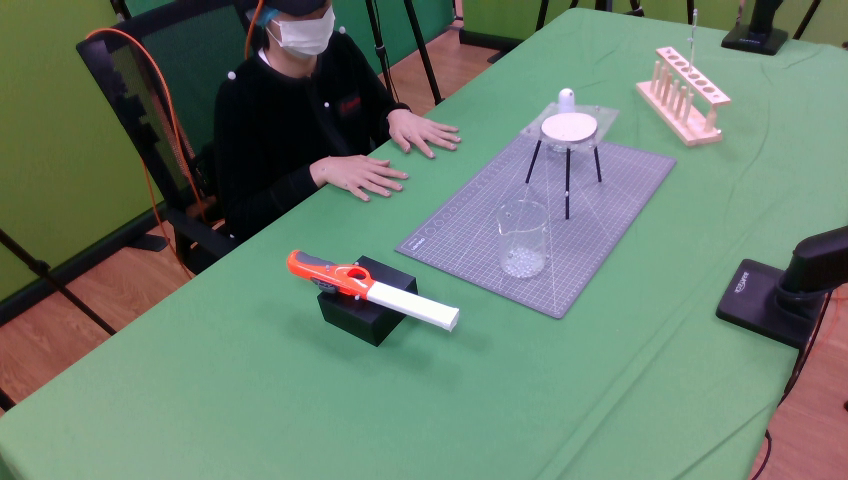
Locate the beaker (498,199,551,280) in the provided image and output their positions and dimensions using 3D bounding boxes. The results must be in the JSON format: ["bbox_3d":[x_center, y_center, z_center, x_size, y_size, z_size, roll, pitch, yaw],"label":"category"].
[{"bbox_3d":[0.144,0.003,0.884,0.073,0.101,0.084,28,52,36],"label":"beaker"}]

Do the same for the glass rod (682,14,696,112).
[{"bbox_3d":[0.495,-0.326,1.132,0.008,0.201,0.008,-8,42,8],"label":"glass rod"}]

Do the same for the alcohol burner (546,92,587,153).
[{"bbox_3d":[0.263,-0.222,1.124,0.078,0.119,0.077,-5,42,5],"label":"alcohol burner"}]

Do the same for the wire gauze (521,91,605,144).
[{"bbox_3d":[0.219,-0.191,0.948,0.121,0.011,0.125,8,49,13],"label":"wire gauze"}]

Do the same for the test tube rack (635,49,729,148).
[{"bbox_3d":[0.497,-0.283,1.185,0.067,0.085,0.240,-10,40,-2],"label":"test tube rack"}]

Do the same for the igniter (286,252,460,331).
[{"bbox_3d":[-0.080,0.067,0.832,0.275,0.025,0.057,17,46,22],"label":"igniter"}]

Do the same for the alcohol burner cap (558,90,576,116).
[{"bbox_3d":[0.260,-0.250,1.102,0.034,0.048,0.033,-7,37,5],"label":"alcohol burner cap"}]

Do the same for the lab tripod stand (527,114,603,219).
[{"bbox_3d":[0.234,-0.129,1.002,0.148,0.132,0.147,-6,40,6],"label":"lab tripod stand"}]
